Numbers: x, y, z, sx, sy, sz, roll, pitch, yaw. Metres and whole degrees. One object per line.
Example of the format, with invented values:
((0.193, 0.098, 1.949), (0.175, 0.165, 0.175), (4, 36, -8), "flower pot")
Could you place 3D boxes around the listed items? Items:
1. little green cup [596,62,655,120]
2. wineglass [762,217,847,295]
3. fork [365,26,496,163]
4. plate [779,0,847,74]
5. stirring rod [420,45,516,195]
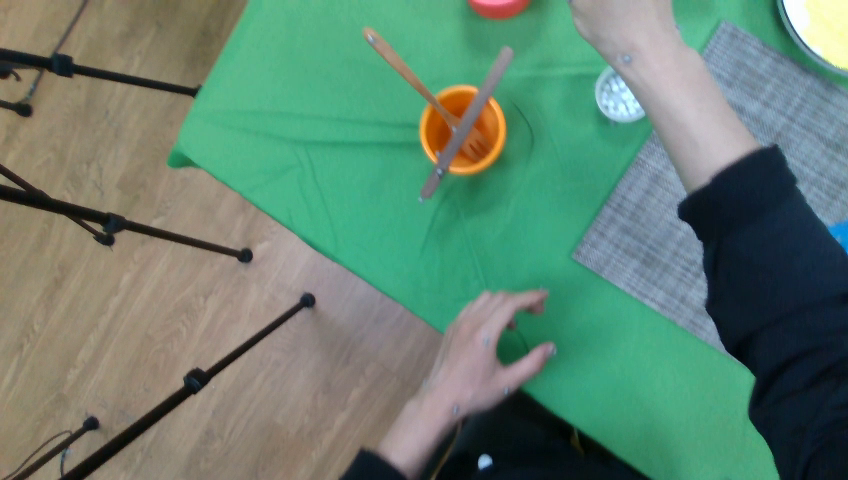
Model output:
((0.218, -0.160, 0.663), (0.061, 0.038, 0.061), (1, 95, 10), "little green cup")
((0.389, 0.011, 0.577), (0.073, 0.172, 0.074), (1, 93, 9), "wineglass")
((0.011, -0.149, 0.639), (0.028, 0.018, 0.209), (-40, 131, 14), "fork")
((0.469, -0.268, 0.617), (0.209, 0.038, 0.209), (1, 95, 9), "plate")
((0.045, -0.123, 0.633), (0.014, 0.006, 0.176), (32, 98, 6), "stirring rod")
